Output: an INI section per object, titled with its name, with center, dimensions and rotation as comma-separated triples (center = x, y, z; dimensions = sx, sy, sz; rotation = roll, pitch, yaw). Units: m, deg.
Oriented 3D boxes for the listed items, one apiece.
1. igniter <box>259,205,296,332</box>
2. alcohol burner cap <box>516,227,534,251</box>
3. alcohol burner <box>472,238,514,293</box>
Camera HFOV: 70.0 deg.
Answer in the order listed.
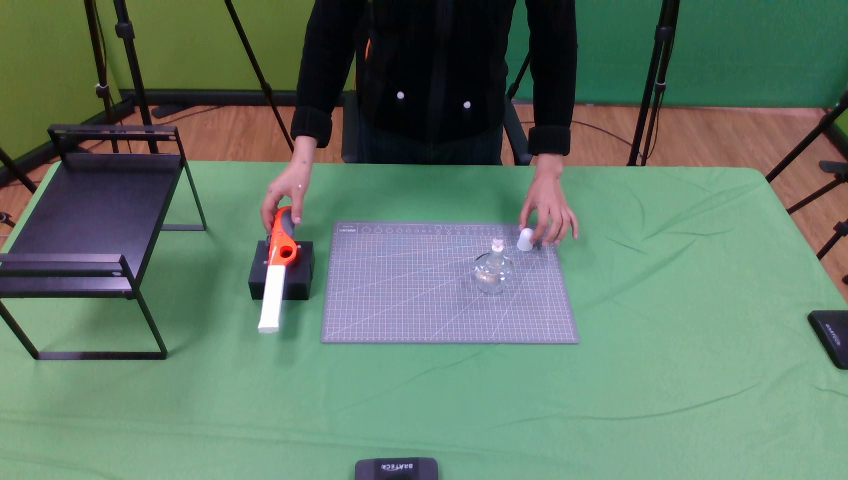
[igniter]
center = -0.259, 0.040, 1.071
dimensions = 0.057, 0.025, 0.274
rotation = 1, 50, -5
[alcohol burner cap]
center = 0.203, -0.005, 1.201
dimensions = 0.034, 0.048, 0.033
rotation = 2, 47, -1
[alcohol burner]
center = 0.128, 0.041, 1.101
dimensions = 0.078, 0.120, 0.077
rotation = 1, 47, -1
